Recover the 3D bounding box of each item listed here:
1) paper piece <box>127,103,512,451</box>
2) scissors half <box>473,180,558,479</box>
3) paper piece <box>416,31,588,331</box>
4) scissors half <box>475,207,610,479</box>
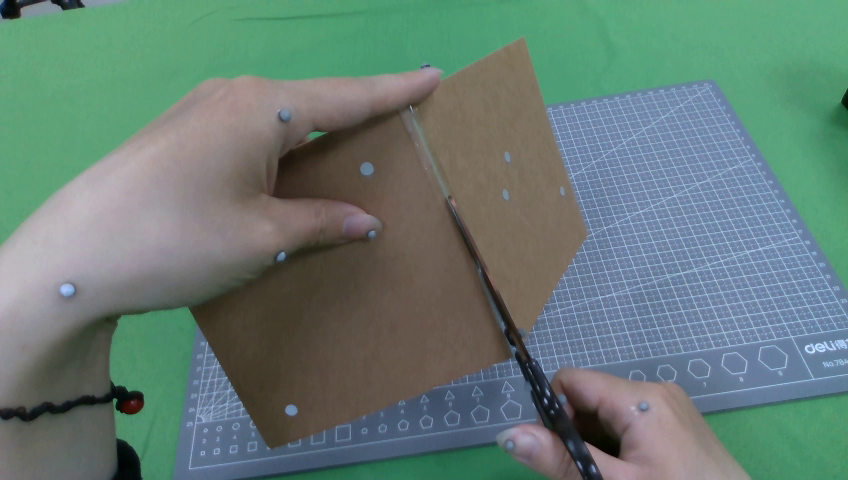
[{"bbox_3d":[-0.046,0.024,0.289,0.138,0.136,0.008,-23,14,4],"label":"paper piece"},{"bbox_3d":[0.046,0.054,0.302,0.013,0.176,0.039,-19,20,-11],"label":"scissors half"},{"bbox_3d":[0.054,-0.035,0.332,0.004,0.136,0.135,-8,22,36],"label":"paper piece"},{"bbox_3d":[0.051,0.054,0.280,0.013,0.040,0.174,-19,81,-16],"label":"scissors half"}]
